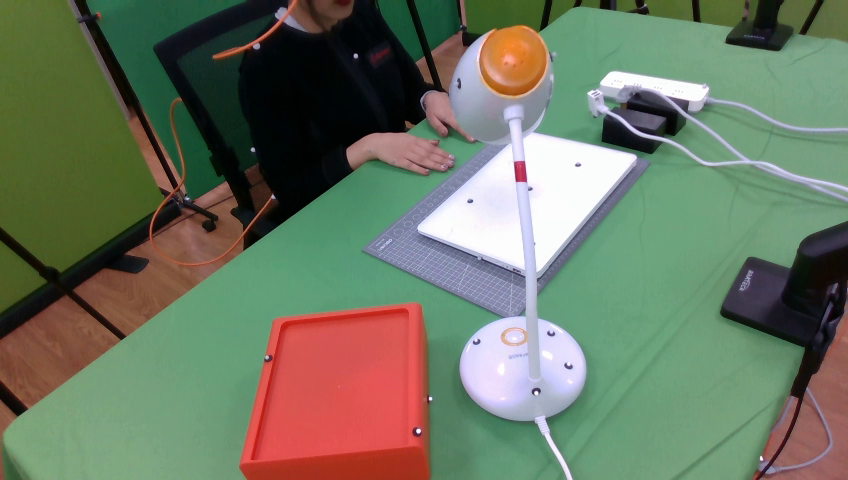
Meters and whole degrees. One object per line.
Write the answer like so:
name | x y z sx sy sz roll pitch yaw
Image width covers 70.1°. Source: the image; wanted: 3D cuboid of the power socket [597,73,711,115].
power socket | 0.469 -0.304 1.249 0.225 0.033 0.072 20 49 30

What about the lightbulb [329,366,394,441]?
lightbulb | -0.081 0.195 0.738 0.060 0.060 0.107 -32 61 -25

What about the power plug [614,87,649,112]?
power plug | 0.406 -0.275 1.192 0.035 0.053 0.072 -16 24 -15

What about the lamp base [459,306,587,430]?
lamp base | 0.119 0.107 0.713 0.161 0.181 0.178 -14 42 -6

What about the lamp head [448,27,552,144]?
lamp head | 0.082 -0.161 0.618 0.112 0.112 0.123 -10 2 0

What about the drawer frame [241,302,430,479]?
drawer frame | -0.095 0.184 0.740 0.202 0.083 0.212 -7 40 3

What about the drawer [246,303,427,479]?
drawer | -0.097 0.184 0.743 0.194 0.073 0.210 -6 41 3

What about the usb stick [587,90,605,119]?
usb stick | 0.334 -0.257 1.170 0.021 0.059 0.027 -28 44 -5

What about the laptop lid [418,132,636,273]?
laptop lid | 0.181 -0.084 1.036 0.239 0.013 0.358 22 49 35

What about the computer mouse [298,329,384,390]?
computer mouse | -0.111 0.156 0.799 0.117 0.041 0.062 -15 41 1

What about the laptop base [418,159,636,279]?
laptop base | 0.185 -0.074 1.042 0.233 0.023 0.355 20 48 35
